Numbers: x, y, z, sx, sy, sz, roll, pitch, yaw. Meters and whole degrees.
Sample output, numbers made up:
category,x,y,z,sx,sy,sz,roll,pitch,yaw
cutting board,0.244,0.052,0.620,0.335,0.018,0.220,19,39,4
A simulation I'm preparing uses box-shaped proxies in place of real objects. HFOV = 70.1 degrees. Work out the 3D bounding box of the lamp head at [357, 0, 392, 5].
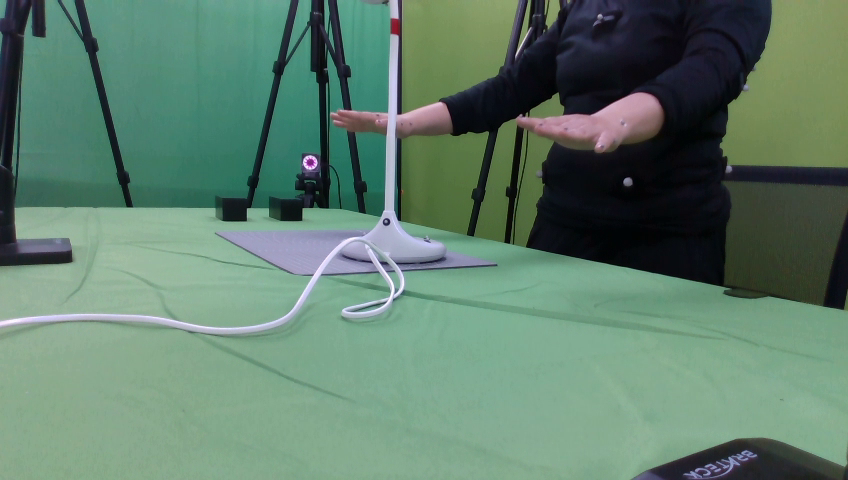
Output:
category,x,y,z,sx,sy,sz,roll,pitch,yaw
lamp head,-0.056,-0.383,0.819,0.113,0.112,0.122,0,13,-22

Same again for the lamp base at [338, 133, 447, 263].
category,x,y,z,sx,sy,sz,roll,pitch,yaw
lamp base,-0.042,-0.062,0.868,0.161,0.180,0.179,2,10,-3
